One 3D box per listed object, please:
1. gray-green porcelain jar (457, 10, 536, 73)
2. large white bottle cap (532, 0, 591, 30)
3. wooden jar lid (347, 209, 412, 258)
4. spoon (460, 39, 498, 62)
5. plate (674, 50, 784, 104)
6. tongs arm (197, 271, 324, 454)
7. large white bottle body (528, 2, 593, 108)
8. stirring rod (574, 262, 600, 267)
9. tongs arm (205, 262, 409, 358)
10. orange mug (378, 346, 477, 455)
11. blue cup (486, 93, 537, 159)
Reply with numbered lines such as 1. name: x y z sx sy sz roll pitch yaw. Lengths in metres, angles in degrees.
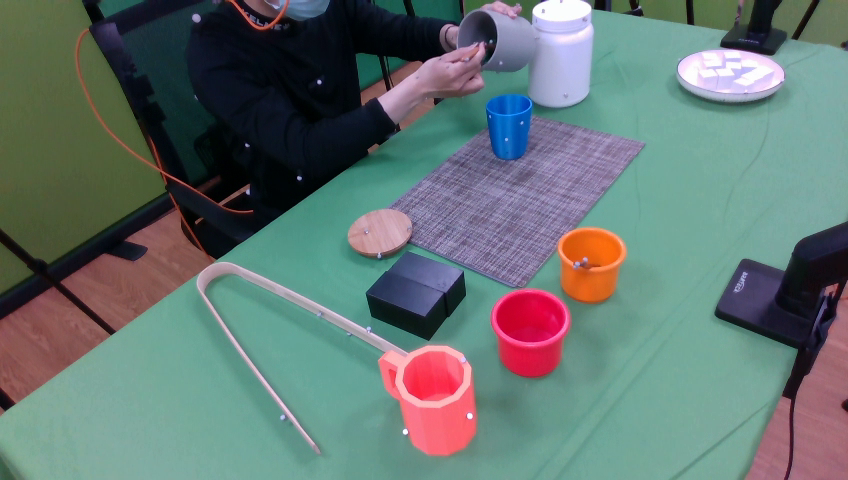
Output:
1. gray-green porcelain jar: 0.142 -0.374 1.150 0.127 0.106 0.105 -11 33 -43
2. large white bottle cap: 0.274 -0.450 1.204 0.115 0.018 0.114 -4 41 4
3. wooden jar lid: -0.071 -0.010 0.997 0.108 0.021 0.108 -5 44 5
4. spoon: 0.112 -0.354 1.121 0.041 0.022 0.194 13 29 27
5. plate: 0.631 -0.336 1.262 0.207 0.039 0.206 -4 41 4
6. tongs arm: -0.236 0.155 0.831 0.028 0.028 0.384 -37 48 -17
7. large white bottle body: 0.283 -0.386 1.259 0.130 0.185 0.130 -4 41 4
8. stirring rod: 0.222 0.033 0.816 0.014 0.006 0.177 8 1 22
9. tongs arm: -0.179 0.106 0.870 0.382 0.027 0.051 23 55 32
10. orange mug: 0.002 0.179 0.708 0.125 0.101 0.083 25 50 27
11. blue cup: 0.160 -0.209 1.129 0.092 0.100 0.092 -4 39 4
